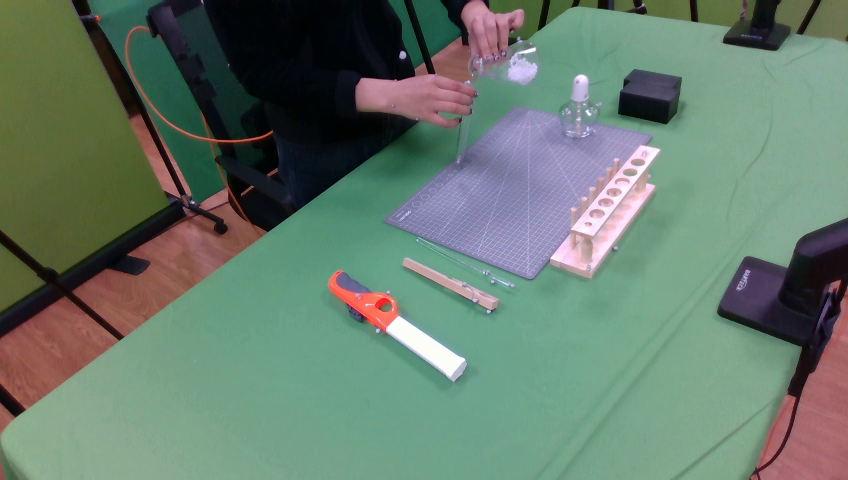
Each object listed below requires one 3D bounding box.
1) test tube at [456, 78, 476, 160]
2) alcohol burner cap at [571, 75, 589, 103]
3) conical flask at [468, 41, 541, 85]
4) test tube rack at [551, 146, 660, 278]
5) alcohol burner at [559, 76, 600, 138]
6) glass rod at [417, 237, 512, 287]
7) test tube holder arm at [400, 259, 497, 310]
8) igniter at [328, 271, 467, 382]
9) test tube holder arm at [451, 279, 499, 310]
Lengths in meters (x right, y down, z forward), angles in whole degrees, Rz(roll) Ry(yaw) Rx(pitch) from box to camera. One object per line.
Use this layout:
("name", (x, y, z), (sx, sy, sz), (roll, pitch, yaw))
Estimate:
("test tube", (0.073, -0.209, 1.061), (0.017, 0.150, 0.017), (5, 33, -3))
("alcohol burner cap", (0.294, -0.285, 1.132), (0.034, 0.048, 0.033), (-4, 46, 5))
("conical flask", (0.135, -0.303, 1.043), (0.123, 0.075, 0.074), (-14, 37, -30))
("test tube rack", (0.286, -0.053, 0.943), (0.066, 0.085, 0.243), (21, 49, 32))
("alcohol burner", (0.298, -0.258, 1.156), (0.078, 0.119, 0.077), (-4, 39, 4))
("glass rod", (0.059, 0.032, 0.945), (0.198, 0.008, 0.008), (26, 52, 38))
("test tube holder arm", (0.033, 0.064, 0.902), (0.177, 0.015, 0.013), (23, 14, 32))
("igniter", (-0.049, 0.114, 0.854), (0.274, 0.025, 0.057), (29, 63, 37))
("test tube holder arm", (0.071, 0.079, 0.882), (0.087, 0.015, 0.010), (24, 14, 34))
